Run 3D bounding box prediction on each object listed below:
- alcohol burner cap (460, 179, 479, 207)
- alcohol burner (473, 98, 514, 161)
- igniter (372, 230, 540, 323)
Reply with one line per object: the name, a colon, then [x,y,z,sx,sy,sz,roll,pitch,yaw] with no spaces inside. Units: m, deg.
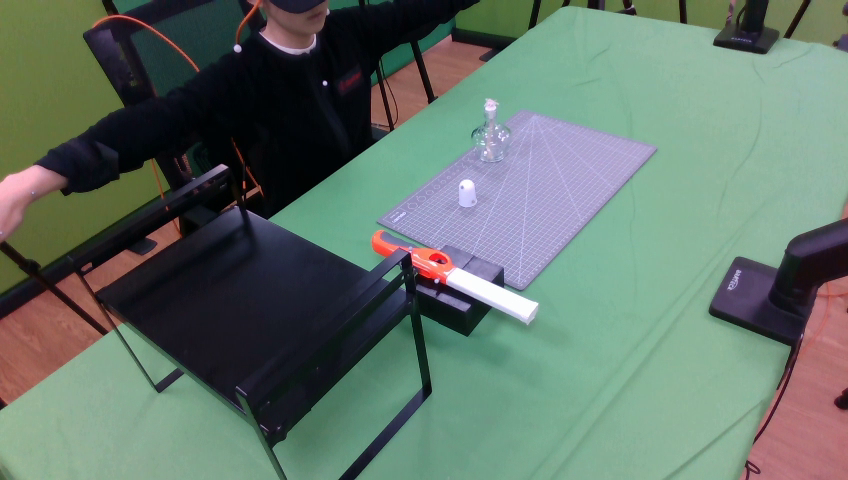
alcohol burner cap: [0.078,-0.083,1.041,0.034,0.048,0.033,-5,42,5]
alcohol burner: [0.127,-0.208,1.123,0.078,0.119,0.077,-5,39,5]
igniter: [0.032,0.045,0.842,0.274,0.025,0.057,24,47,28]
